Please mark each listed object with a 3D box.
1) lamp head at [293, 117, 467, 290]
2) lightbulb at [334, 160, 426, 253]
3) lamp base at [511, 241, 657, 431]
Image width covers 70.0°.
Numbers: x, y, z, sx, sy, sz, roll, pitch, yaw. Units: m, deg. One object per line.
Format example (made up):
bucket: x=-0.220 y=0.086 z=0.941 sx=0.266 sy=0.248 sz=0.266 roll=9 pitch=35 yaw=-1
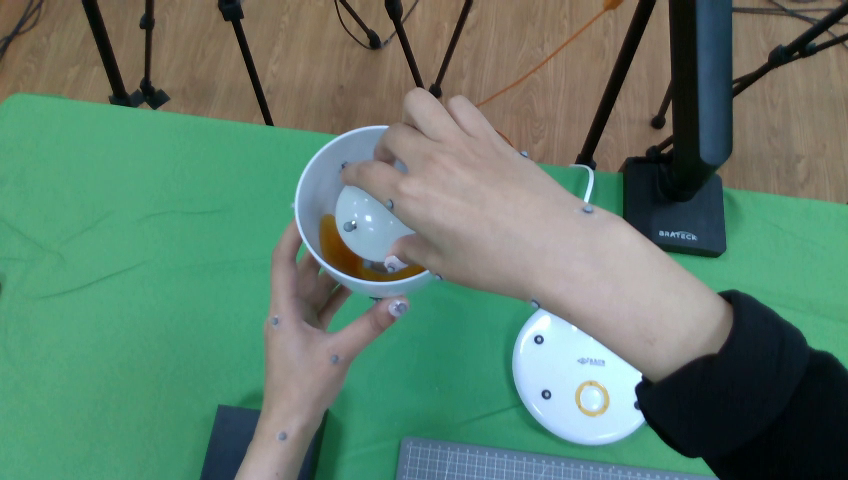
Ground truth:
lamp head: x=-0.025 y=-0.013 z=0.439 sx=0.112 sy=0.123 sz=0.111 roll=-1 pitch=72 yaw=3
lightbulb: x=-0.030 y=-0.016 z=0.414 sx=0.059 sy=0.108 sz=0.059 roll=1 pitch=76 yaw=-3
lamp base: x=0.177 y=0.087 z=0.603 sx=0.161 sy=0.181 sz=0.177 roll=-5 pitch=65 yaw=-4
